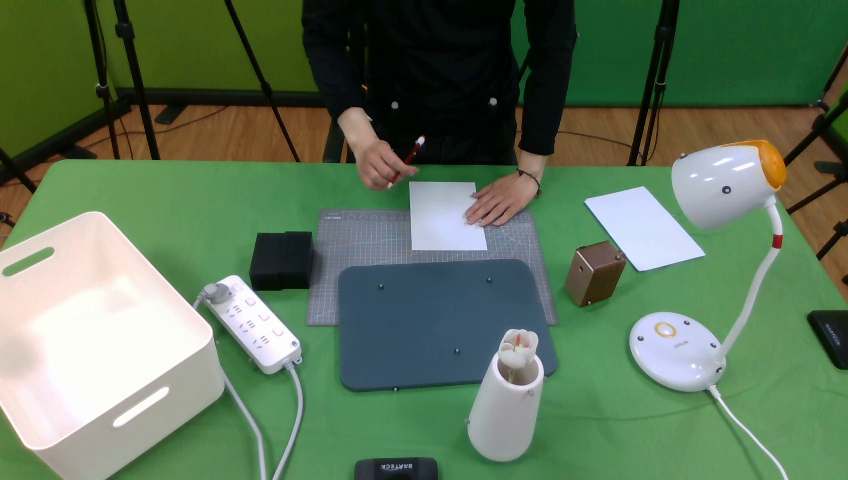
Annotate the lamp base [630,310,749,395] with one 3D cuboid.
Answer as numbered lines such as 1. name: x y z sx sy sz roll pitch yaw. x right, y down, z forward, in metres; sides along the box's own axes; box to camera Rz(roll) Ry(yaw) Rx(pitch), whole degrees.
1. lamp base: 0.447 0.143 0.984 0.161 0.181 0.178 -24 55 -24

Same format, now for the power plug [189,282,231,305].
1. power plug: -0.368 0.097 1.039 0.072 0.053 0.035 -26 55 -20

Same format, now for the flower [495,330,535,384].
1. flower: 0.110 0.187 0.791 0.044 0.363 0.038 -32 65 -10

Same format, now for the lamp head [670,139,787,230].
1. lamp head: 0.415 -0.079 0.812 0.113 0.123 0.112 13 70 -37

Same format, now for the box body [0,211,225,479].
1. box body: -0.504 0.154 0.916 0.362 0.161 0.254 36 54 27

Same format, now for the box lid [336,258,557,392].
1. box lid: 0.030 0.140 1.073 0.372 0.015 0.261 -3 47 -7

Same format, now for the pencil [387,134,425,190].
1. pencil: -0.032 -0.145 1.117 0.012 0.012 0.193 16 43 11

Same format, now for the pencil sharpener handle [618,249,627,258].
1. pencil sharpener handle: 0.359 0.036 1.113 0.031 0.068 0.036 -15 61 -18

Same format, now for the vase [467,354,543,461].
1. vase: 0.116 0.234 0.861 0.098 0.201 0.097 1 47 -1

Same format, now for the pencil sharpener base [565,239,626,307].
1. pencil sharpener base: 0.313 0.060 1.104 0.077 0.107 0.061 -15 49 -18

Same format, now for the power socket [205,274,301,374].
1. power socket: -0.296 0.140 1.035 0.072 0.033 0.225 -32 57 -29
